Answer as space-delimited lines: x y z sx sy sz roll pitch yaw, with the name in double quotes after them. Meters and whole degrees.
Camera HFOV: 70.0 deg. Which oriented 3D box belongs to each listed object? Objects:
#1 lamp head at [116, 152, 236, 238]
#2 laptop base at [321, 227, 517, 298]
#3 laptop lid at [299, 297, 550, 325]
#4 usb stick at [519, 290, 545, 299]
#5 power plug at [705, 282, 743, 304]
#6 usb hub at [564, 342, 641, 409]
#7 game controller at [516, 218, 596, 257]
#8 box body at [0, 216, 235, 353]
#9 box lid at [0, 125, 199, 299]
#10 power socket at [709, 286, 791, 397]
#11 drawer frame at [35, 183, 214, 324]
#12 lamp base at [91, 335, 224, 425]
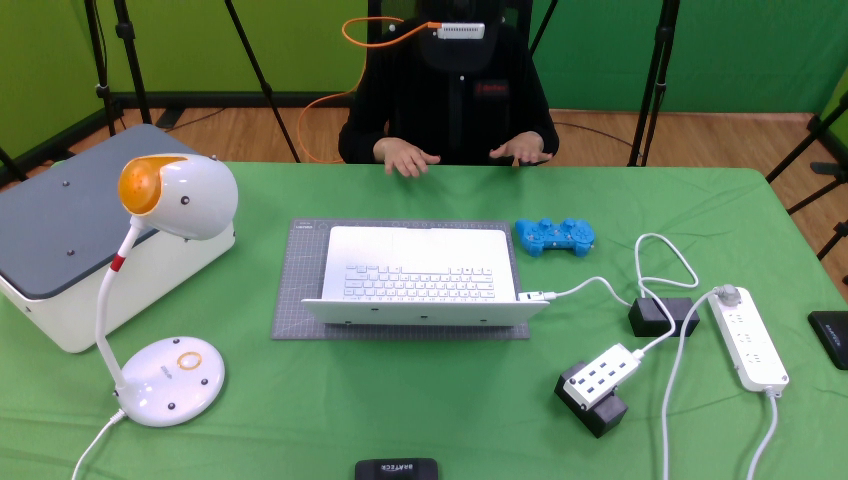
-0.315 -0.057 0.747 0.112 0.112 0.123 26 10 20 "lamp head"
-0.009 0.062 1.137 0.354 0.023 0.234 1 42 -3 "laptop base"
-0.002 0.114 0.943 0.357 0.242 0.013 1 74 -4 "laptop lid"
0.186 0.108 1.086 0.059 0.027 0.021 -7 47 1 "usb stick"
0.539 0.097 1.098 0.072 0.053 0.035 8 47 8 "power plug"
0.278 0.208 0.942 0.125 0.025 0.049 -27 52 -28 "usb hub"
0.267 -0.015 1.212 0.155 0.052 0.096 0 50 -3 "game controller"
-0.550 -0.007 1.068 0.253 0.161 0.363 30 51 23 "box body"
-0.540 -0.068 1.016 0.262 0.015 0.371 30 51 23 "box lid"
0.567 0.167 1.064 0.072 0.033 0.225 2 46 -1 "power socket"
-0.531 0.018 1.092 0.201 0.083 0.213 29 52 21 "drawer frame"
-0.401 0.170 0.892 0.160 0.181 0.179 30 53 23 "lamp base"
